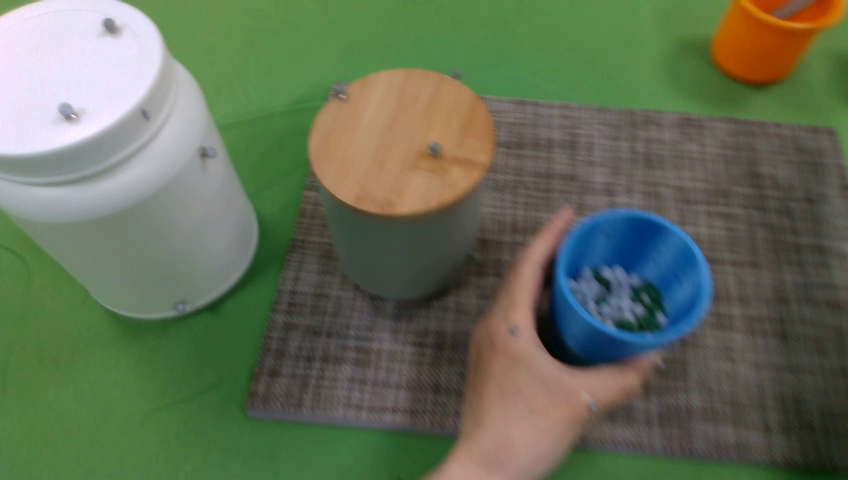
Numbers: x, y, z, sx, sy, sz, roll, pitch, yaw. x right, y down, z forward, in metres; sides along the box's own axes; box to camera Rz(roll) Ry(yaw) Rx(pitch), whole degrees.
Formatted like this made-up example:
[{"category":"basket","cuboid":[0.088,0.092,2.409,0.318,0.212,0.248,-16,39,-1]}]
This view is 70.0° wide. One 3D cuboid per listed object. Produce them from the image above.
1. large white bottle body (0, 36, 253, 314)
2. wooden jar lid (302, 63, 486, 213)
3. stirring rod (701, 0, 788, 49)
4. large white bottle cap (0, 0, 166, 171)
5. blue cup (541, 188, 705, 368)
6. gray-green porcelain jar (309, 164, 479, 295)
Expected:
[{"category":"large white bottle body","cuboid":[-0.197,-0.044,0.394,0.130,0.186,0.129,0,60,0]},{"category":"wooden jar lid","cuboid":[-0.018,-0.060,0.362,0.108,0.021,0.107,-1,61,2]},{"category":"stirring rod","cuboid":[0.328,-0.223,0.527,0.176,0.006,0.014,-31,59,31]},{"category":"large white bottle cap","cuboid":[-0.197,-0.086,0.320,0.115,0.018,0.114,0,60,0]},{"category":"blue cup","cuboid":[0.114,0.037,0.383,0.093,0.101,0.092,1,60,-1]},{"category":"gray-green porcelain jar","cuboid":[-0.018,-0.028,0.416,0.106,0.127,0.105,0,60,0]}]
